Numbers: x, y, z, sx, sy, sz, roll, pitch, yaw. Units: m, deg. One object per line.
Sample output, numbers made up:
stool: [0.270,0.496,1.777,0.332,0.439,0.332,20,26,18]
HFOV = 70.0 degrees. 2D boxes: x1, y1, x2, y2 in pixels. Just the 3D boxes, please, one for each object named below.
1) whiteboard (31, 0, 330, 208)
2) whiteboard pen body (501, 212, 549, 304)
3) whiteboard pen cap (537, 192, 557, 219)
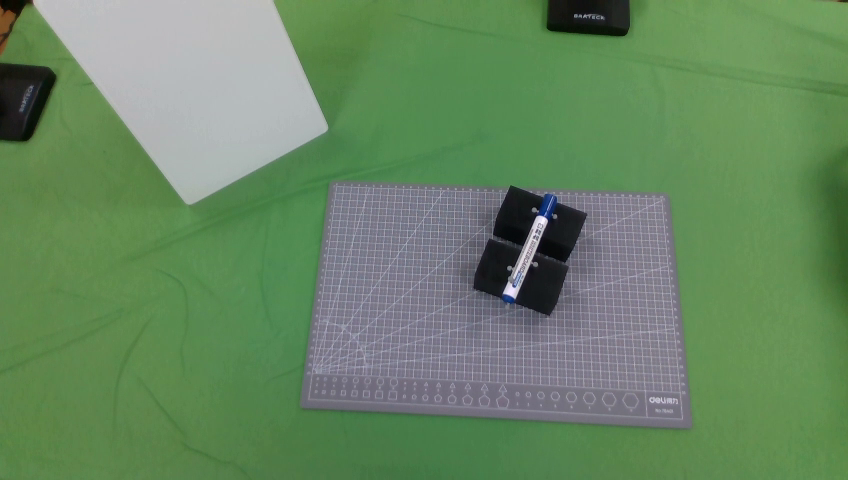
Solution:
whiteboard: [-0.287,-0.233,0.752,0.217,0.309,0.142,-31,51,-10]
whiteboard pen body: [0.123,0.010,0.709,0.017,0.017,0.140,23,72,11]
whiteboard pen cap: [0.147,-0.040,0.729,0.018,0.018,0.033,22,72,10]
